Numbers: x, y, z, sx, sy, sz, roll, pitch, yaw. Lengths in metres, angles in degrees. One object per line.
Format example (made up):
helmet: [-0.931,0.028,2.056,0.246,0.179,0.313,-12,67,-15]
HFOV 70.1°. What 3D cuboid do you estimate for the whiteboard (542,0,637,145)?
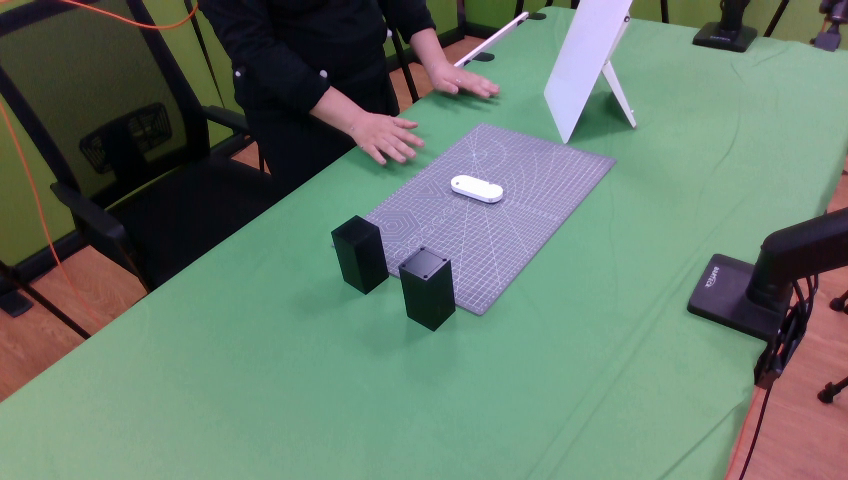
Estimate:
whiteboard: [0.365,-0.351,1.160,0.144,0.305,0.216,9,39,-10]

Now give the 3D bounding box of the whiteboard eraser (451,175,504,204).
whiteboard eraser: [0.093,-0.089,1.059,0.100,0.019,0.041,21,48,30]
